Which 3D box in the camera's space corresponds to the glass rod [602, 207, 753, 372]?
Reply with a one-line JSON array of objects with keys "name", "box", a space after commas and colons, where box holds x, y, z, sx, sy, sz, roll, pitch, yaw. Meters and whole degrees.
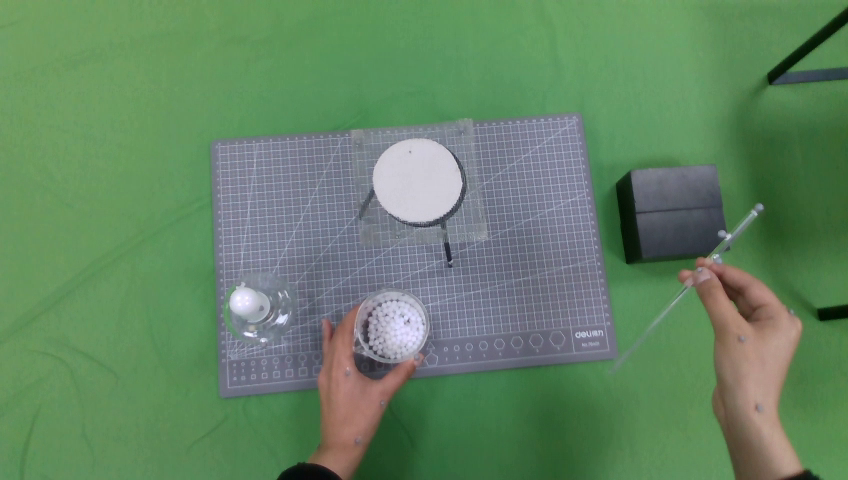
[{"name": "glass rod", "box": [0.217, 0.050, 0.534, 0.008, 0.008, 0.200, 34, 118, 4]}]

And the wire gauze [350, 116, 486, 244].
[{"name": "wire gauze", "box": [-0.007, -0.058, 0.585, 0.125, 0.011, 0.121, -4, 80, -3]}]

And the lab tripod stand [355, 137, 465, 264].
[{"name": "lab tripod stand", "box": [-0.006, -0.050, 0.652, 0.148, 0.132, 0.147, 0, 78, -1]}]

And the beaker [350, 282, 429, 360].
[{"name": "beaker", "box": [-0.038, 0.091, 0.642, 0.084, 0.100, 0.073, -32, 82, -7]}]

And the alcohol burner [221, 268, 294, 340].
[{"name": "alcohol burner", "box": [-0.177, 0.066, 0.632, 0.078, 0.119, 0.077, 1, 81, -3]}]

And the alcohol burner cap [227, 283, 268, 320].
[{"name": "alcohol burner cap", "box": [-0.176, 0.059, 0.597, 0.034, 0.048, 0.033, 0, 74, 1]}]
